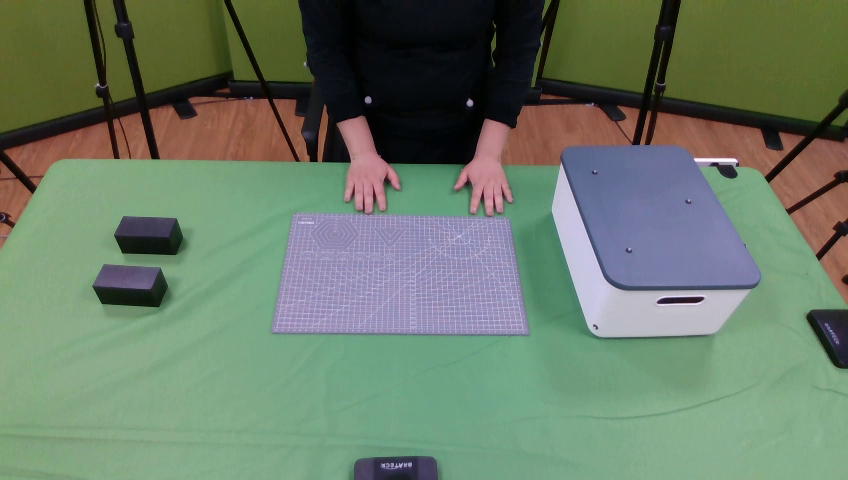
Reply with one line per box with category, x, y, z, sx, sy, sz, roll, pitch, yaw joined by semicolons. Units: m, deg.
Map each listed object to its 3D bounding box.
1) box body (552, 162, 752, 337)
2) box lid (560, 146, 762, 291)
box body;0.401;-0.001;1.131;0.254;0.161;0.361;-1;46;-5
box lid;0.404;-0.052;1.076;0.263;0.015;0.369;-1;45;-5
